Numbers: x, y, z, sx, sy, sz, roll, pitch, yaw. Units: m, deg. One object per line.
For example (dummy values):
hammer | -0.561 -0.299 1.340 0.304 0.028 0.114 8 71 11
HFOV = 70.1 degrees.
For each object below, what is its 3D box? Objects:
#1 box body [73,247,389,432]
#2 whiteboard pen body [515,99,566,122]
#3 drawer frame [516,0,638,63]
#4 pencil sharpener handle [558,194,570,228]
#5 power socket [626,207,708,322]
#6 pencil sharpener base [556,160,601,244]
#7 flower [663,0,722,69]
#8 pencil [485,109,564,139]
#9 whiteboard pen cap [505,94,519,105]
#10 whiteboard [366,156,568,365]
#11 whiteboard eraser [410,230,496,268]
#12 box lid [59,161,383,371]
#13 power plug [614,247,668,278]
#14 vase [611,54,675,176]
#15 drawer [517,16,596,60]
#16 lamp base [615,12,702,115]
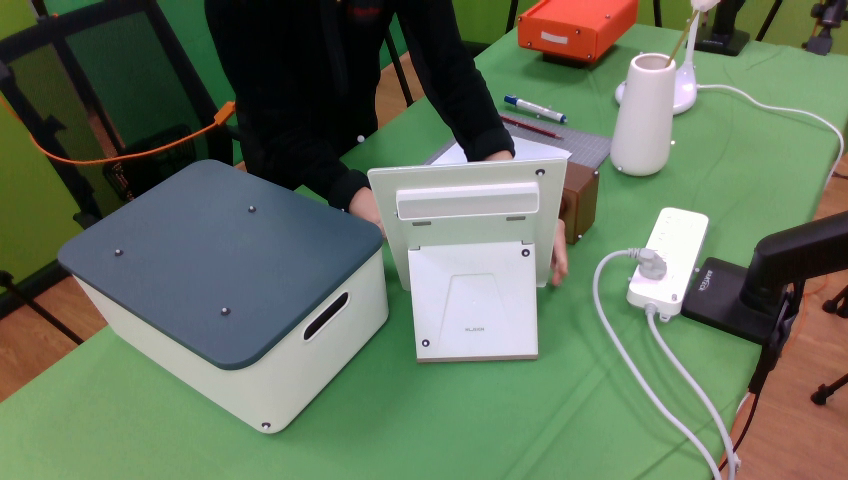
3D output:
box body | -0.255 0.065 0.827 0.361 0.161 0.255 21 48 29
whiteboard pen body | 0.233 -0.274 1.262 0.139 0.017 0.017 28 51 29
drawer frame | 0.355 -0.508 1.410 0.200 0.083 0.214 23 51 32
pencil sharpener handle | 0.195 -0.038 0.908 0.035 0.068 0.031 24 50 31
power socket | 0.359 0.025 0.886 0.072 0.033 0.227 16 46 26
pencil sharpener base | 0.228 -0.057 0.945 0.061 0.107 0.077 24 50 31
flower | 0.379 -0.261 0.965 0.044 0.362 0.038 21 53 5
pencil | 0.201 -0.235 1.228 0.192 0.012 0.012 28 51 33
whiteboard pen cap | 0.190 -0.299 1.292 0.033 0.018 0.018 30 52 28
whiteboard | 0.059 0.050 0.738 0.217 0.307 0.143 -2 60 6
whiteboard eraser | 0.041 0.016 0.860 0.112 0.056 0.041 -10 79 28
box lid | -0.261 0.010 0.777 0.369 0.015 0.264 21 48 29
power plug | 0.306 0.031 0.851 0.072 0.053 0.035 24 49 33
vase | 0.377 -0.209 1.031 0.098 0.201 0.097 -3 40 3
drawer | 0.352 -0.506 1.405 0.193 0.073 0.212 23 49 32
lamp base | 0.484 -0.364 1.211 0.180 0.181 0.159 -15 41 -14
